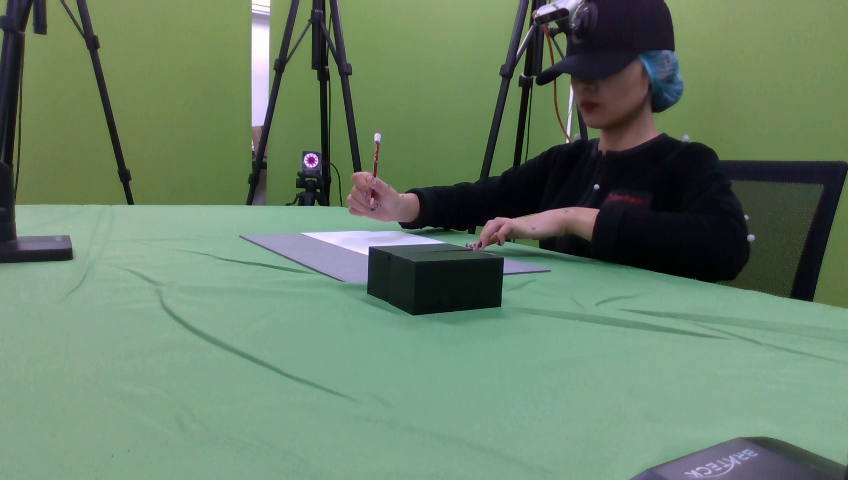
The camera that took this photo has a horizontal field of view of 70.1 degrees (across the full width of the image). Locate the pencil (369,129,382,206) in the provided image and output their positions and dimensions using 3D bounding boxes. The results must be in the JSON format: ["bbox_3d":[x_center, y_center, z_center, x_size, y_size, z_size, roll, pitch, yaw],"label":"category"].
[{"bbox_3d":[-0.087,-0.130,1.062,0.012,0.012,0.193,2,49,0],"label":"pencil"}]
